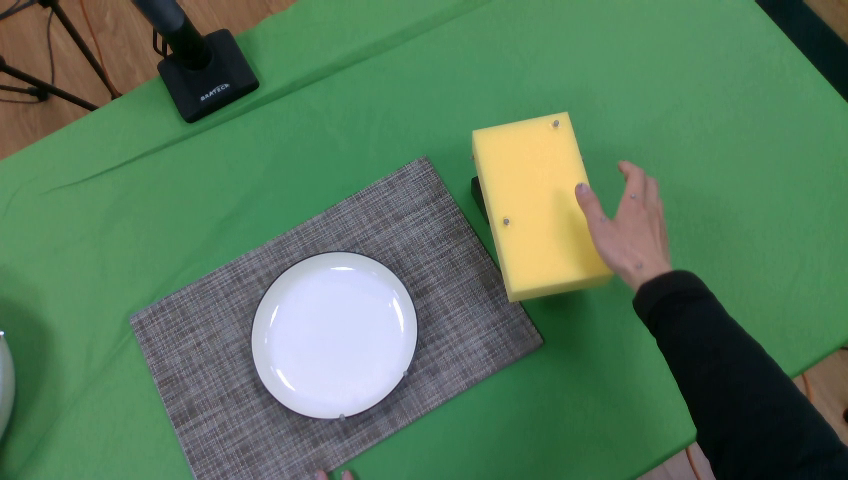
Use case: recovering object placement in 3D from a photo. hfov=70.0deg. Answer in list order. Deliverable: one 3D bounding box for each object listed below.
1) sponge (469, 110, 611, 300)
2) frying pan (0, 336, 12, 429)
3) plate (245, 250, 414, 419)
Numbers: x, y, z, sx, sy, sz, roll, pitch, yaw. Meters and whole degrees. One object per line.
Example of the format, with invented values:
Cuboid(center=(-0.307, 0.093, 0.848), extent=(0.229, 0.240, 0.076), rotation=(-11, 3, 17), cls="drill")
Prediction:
Cuboid(center=(0.133, -0.042, 0.723), extent=(0.118, 0.061, 0.205), rotation=(-12, 73, 0), cls="sponge")
Cuboid(center=(-0.590, 0.271, 0.711), extent=(0.307, 0.103, 0.483), rotation=(-37, 66, -6), cls="frying pan")
Cuboid(center=(-0.115, 0.117, 0.754), extent=(0.207, 0.039, 0.206), rotation=(-1, 74, 4), cls="plate")
